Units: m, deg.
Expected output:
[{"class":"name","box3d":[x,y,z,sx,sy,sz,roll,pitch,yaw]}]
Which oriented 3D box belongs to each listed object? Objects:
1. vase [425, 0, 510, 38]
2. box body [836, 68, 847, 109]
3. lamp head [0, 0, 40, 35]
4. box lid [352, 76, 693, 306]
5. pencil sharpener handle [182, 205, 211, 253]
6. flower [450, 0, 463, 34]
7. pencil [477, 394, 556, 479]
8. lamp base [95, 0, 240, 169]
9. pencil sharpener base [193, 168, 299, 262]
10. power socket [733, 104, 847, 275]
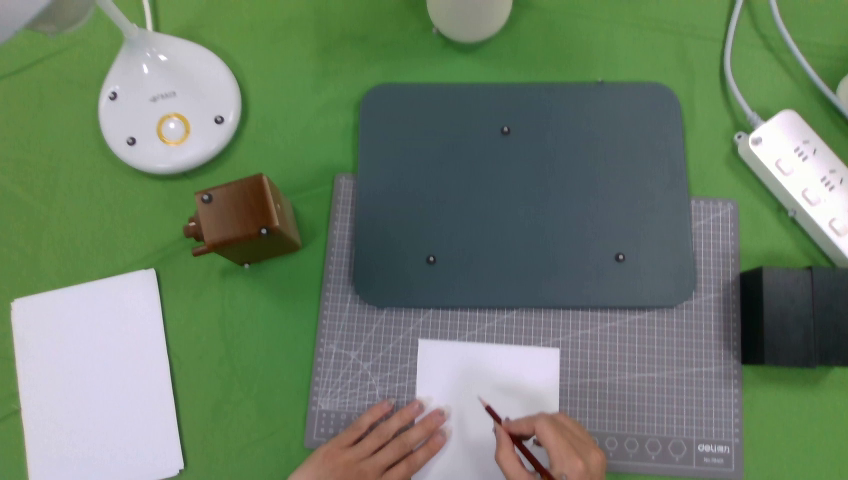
[{"class":"vase","box3d":[0.049,-0.297,0.625,0.098,0.201,0.097,0,77,0]},{"class":"box body","box3d":[0.654,-0.131,0.606,0.254,0.161,0.362,-39,81,-7]},{"class":"lamp head","box3d":[-0.262,-0.194,0.336,0.112,0.124,0.111,-24,43,24]},{"class":"box lid","box3d":[0.108,-0.058,0.672,0.371,0.015,0.262,0,79,1]},{"class":"pencil sharpener handle","box3d":[-0.228,-0.006,0.604,0.030,0.068,0.035,-17,66,-2]},{"class":"flower","box3d":[0.058,-0.326,0.546,0.044,0.364,0.038,-21,67,-19]},{"class":"pencil","box3d":[0.096,0.194,0.533,0.012,0.012,0.192,-40,37,-7]},{"class":"lamp base","box3d":[-0.297,-0.183,0.614,0.160,0.181,0.178,-27,77,-5]},{"class":"pencil sharpener base","box3d":[-0.180,-0.021,0.619,0.077,0.107,0.061,-17,79,-2]},{"class":"power socket","box3d":[0.436,-0.050,0.658,0.072,0.033,0.226,-36,80,-6]}]
